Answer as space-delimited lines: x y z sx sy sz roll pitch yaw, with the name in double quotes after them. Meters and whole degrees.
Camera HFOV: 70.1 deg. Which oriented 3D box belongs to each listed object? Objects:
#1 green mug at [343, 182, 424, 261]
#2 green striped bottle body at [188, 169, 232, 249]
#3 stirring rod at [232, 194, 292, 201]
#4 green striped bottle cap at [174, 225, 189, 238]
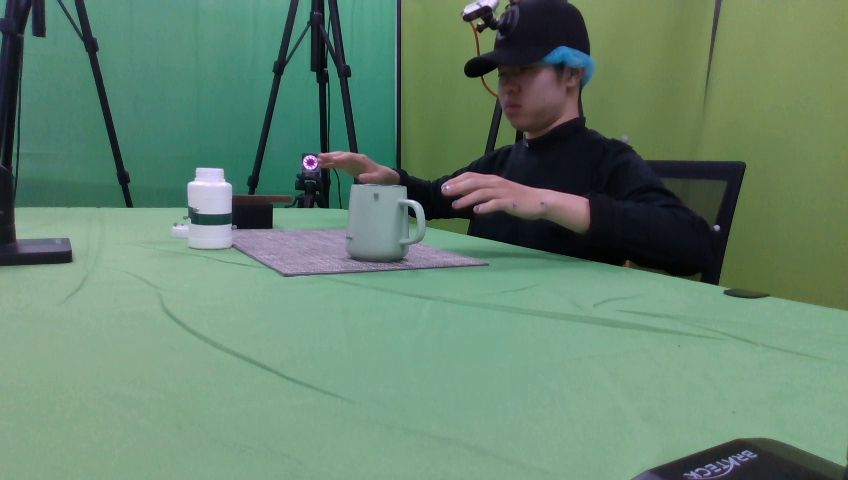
-0.053 -0.026 0.849 0.125 0.105 0.093 7 8 33 "green mug"
-0.324 -0.049 0.919 0.063 0.119 0.063 2 8 0 "green striped bottle body"
-0.353 -0.085 1.216 0.177 0.014 0.006 -1 13 -27 "stirring rod"
-0.404 -0.015 1.036 0.044 0.020 0.044 -2 8 1 "green striped bottle cap"
